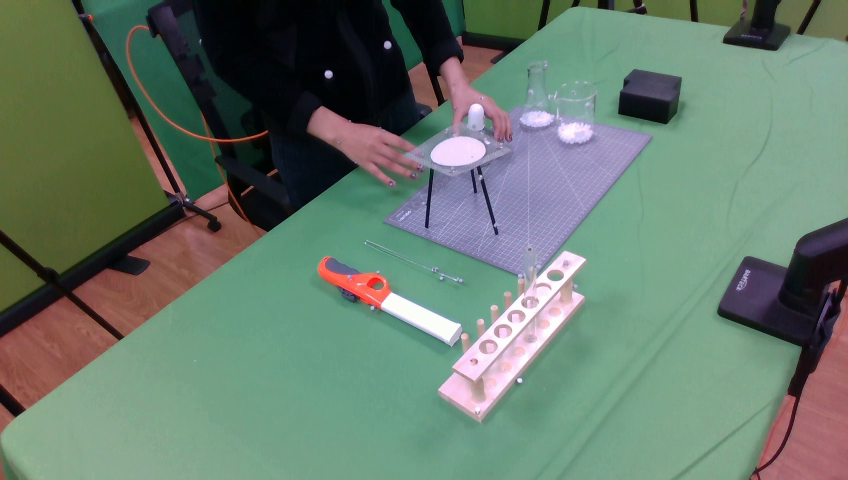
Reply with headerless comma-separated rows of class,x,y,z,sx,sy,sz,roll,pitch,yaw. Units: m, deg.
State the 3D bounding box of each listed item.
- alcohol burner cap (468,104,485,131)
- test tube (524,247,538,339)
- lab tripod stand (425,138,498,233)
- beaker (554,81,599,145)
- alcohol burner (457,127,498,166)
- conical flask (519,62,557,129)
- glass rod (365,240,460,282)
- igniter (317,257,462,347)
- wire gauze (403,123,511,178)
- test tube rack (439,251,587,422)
alcohol burner cap,0.096,-0.225,1.099,0.034,0.048,0.033,-2,46,3
test tube,0.133,0.070,0.749,0.017,0.151,0.017,-5,38,4
lab tripod stand,0.063,-0.091,0.988,0.148,0.132,0.147,-6,39,6
beaker,0.286,-0.237,1.144,0.084,0.101,0.073,-17,40,-7
alcohol burner,0.099,-0.198,1.124,0.078,0.119,0.077,-4,38,4
conical flask,0.225,-0.288,1.198,0.075,0.122,0.075,-6,40,5
glass rod,-0.022,0.032,0.961,0.198,0.008,0.008,21,49,34
igniter,-0.061,0.086,0.891,0.274,0.025,0.057,23,59,33
wire gauze,0.051,-0.140,0.943,0.125,0.011,0.120,-30,43,-25
test tube rack,0.118,0.111,0.780,0.066,0.085,0.243,26,51,34
